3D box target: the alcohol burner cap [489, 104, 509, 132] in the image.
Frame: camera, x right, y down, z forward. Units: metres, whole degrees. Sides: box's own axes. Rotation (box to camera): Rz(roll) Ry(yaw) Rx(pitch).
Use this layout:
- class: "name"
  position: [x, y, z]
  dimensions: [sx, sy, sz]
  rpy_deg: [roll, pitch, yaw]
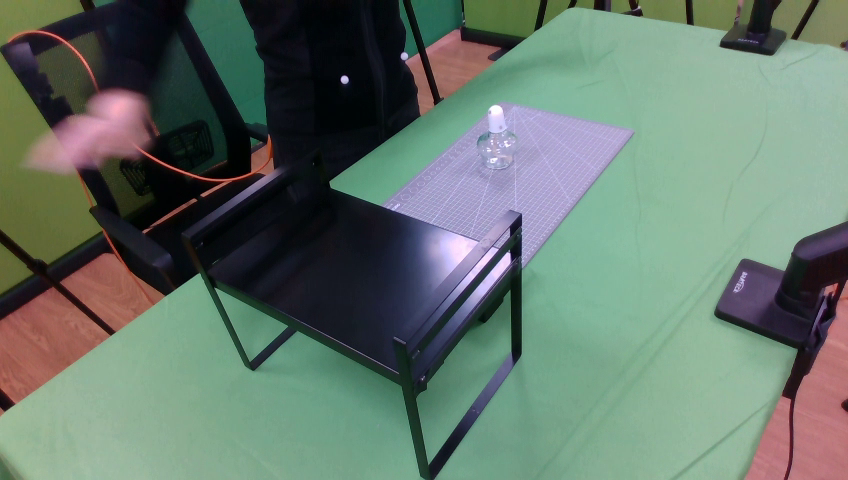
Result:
- class: "alcohol burner cap"
  position: [0.132, -0.221, 1.083]
  dimensions: [0.034, 0.048, 0.033]
  rpy_deg: [-9, 40, 8]

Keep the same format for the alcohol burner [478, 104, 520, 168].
- class: "alcohol burner"
  position: [0.136, -0.193, 1.107]
  dimensions: [0.078, 0.119, 0.077]
  rpy_deg: [-5, 39, 4]
